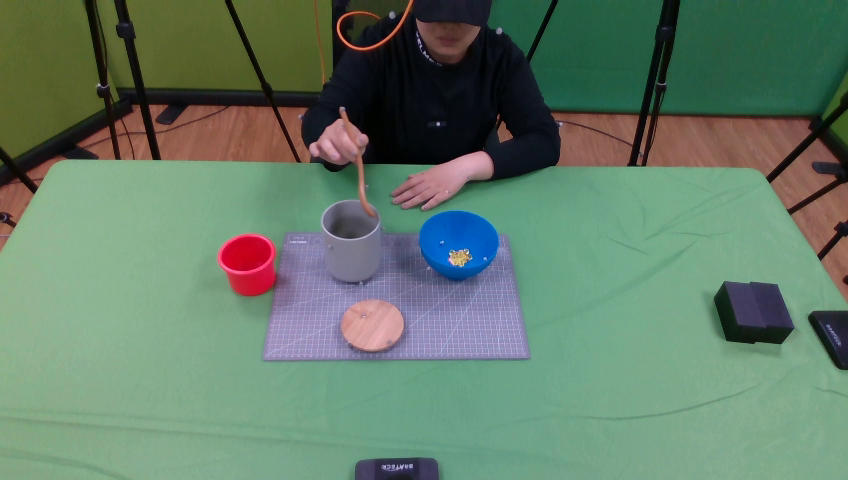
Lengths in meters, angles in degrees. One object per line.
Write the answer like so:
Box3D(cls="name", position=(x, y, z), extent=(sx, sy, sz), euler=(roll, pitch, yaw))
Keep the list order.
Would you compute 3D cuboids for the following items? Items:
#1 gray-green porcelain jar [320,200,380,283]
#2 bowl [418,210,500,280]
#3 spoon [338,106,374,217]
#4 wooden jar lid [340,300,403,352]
Box3D(cls="gray-green porcelain jar", position=(-0.132, 0.007, 1.106), extent=(0.106, 0.127, 0.105), euler=(2, 46, -2))
Box3D(cls="bowl", position=(0.062, 0.022, 1.140), extent=(0.151, 0.077, 0.150), euler=(2, 46, -2))
Box3D(cls="spoon", position=(-0.113, -0.128, 1.015), extent=(0.021, 0.194, 0.041), euler=(-12, 17, -3))
Box3D(cls="wooden jar lid", position=(-0.090, 0.150, 1.046), extent=(0.108, 0.021, 0.107), euler=(3, 47, -3))
